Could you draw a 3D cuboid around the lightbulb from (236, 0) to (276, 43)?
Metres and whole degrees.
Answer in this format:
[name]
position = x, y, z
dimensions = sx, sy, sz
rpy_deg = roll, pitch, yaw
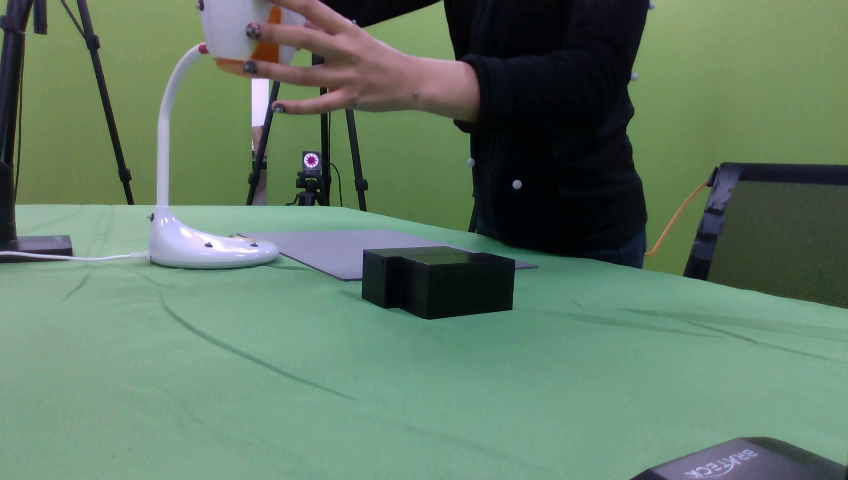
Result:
[lightbulb]
position = -0.156, -0.241, 0.572
dimensions = 0.059, 0.107, 0.059
rpy_deg = 11, 0, 0

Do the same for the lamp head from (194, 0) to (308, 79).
[lamp head]
position = -0.167, -0.216, 0.572
dimensions = 0.112, 0.123, 0.112
rpy_deg = 8, 8, -1

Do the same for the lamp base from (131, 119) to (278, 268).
[lamp base]
position = -0.279, -0.061, 0.770
dimensions = 0.160, 0.180, 0.180
rpy_deg = 9, 13, 44
